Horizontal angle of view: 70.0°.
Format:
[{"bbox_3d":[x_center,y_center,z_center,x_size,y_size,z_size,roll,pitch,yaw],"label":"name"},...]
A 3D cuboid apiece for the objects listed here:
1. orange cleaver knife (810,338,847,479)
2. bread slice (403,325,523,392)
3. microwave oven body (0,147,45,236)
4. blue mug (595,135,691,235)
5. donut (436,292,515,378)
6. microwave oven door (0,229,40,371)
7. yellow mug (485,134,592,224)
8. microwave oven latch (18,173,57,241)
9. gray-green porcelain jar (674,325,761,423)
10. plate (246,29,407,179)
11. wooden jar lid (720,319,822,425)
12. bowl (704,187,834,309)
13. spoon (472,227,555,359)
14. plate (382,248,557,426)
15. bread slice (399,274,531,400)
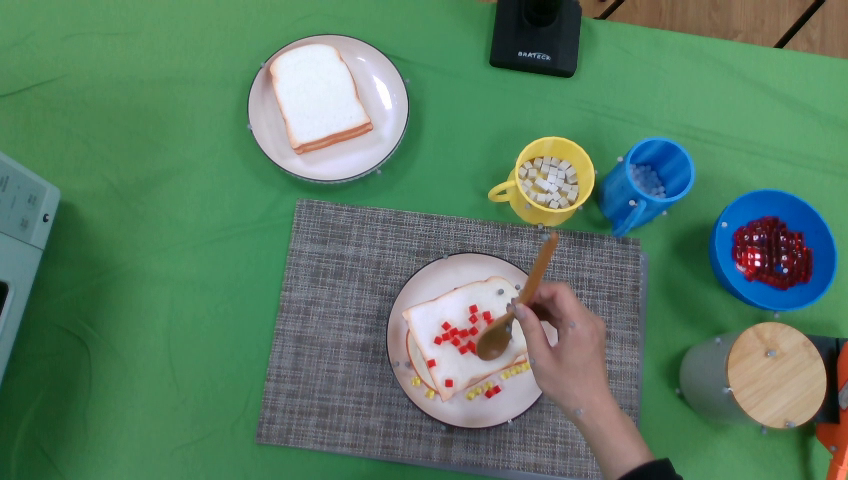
[{"bbox_3d":[0.477,0.221,0.706,0.012,0.077,0.212,6,102,0],"label":"orange cleaver knife"},{"bbox_3d":[0.043,0.124,0.731,0.131,0.019,0.104,-24,77,-12],"label":"bread slice"},{"bbox_3d":[-0.638,0.080,0.587,0.326,0.261,0.439,10,76,-1],"label":"microwave oven body"},{"bbox_3d":[0.262,-0.058,0.752,0.082,0.106,0.116,28,76,5],"label":"blue mug"},{"bbox_3d":[0.060,0.110,0.703,0.099,0.048,0.098,5,76,-20],"label":"donut"},{"bbox_3d":[-0.501,0.143,0.573,0.039,0.245,0.354,9,76,0],"label":"microwave oven door"},{"bbox_3d":[0.141,-0.073,0.769,0.131,0.064,0.099,-13,76,-4],"label":"yellow mug"},{"bbox_3d":[-0.468,-0.041,0.725,0.030,0.029,0.079,13,76,0],"label":"microwave oven latch"},{"bbox_3d":[0.358,0.154,0.694,0.106,0.127,0.105,1,76,-3],"label":"gray-green porcelain jar"},{"bbox_3d":[-0.126,-0.175,0.795,0.208,0.039,0.206,1,76,-3],"label":"plate"},{"bbox_3d":[0.359,0.137,0.633,0.108,0.021,0.108,1,79,-4],"label":"wooden jar lid"},{"bbox_3d":[0.412,0.017,0.755,0.151,0.077,0.150,1,76,-3],"label":"bowl"},{"bbox_3d":[0.090,0.058,0.593,0.042,0.195,0.021,-2,51,-22],"label":"spoon"},{"bbox_3d":[0.054,0.115,0.729,0.209,0.038,0.208,1,76,-3],"label":"plate"},{"bbox_3d":[0.051,0.098,0.673,0.134,0.018,0.106,-27,83,-14],"label":"bread slice"}]
